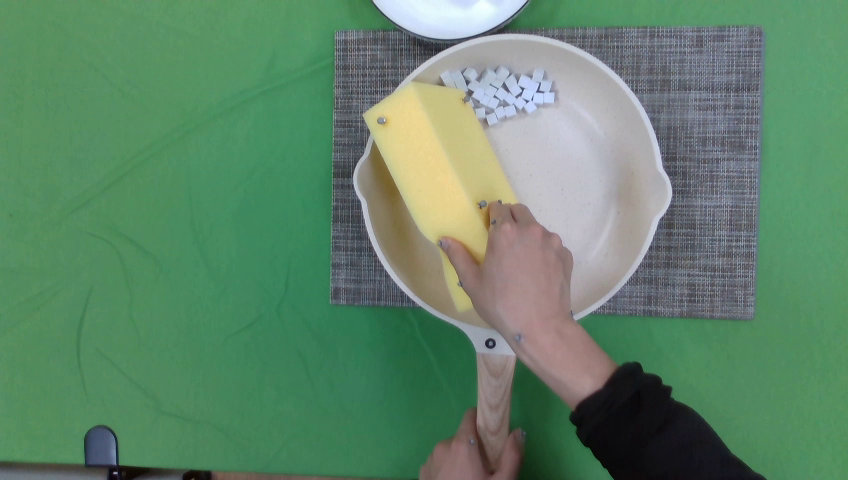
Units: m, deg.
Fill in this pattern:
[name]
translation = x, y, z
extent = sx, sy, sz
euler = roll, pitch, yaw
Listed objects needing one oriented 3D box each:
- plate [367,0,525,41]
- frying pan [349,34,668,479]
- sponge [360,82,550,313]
[plate]
translation = 0.026, -0.311, 0.640
extent = 0.207, 0.039, 0.207
euler = 0, 91, 6
[frying pan]
translation = 0.073, 0.049, 0.604
extent = 0.306, 0.103, 0.486
euler = 4, 83, 7
[sponge]
translation = 0.035, -0.045, 0.589
extent = 0.061, 0.118, 0.206
euler = -28, 88, 28
